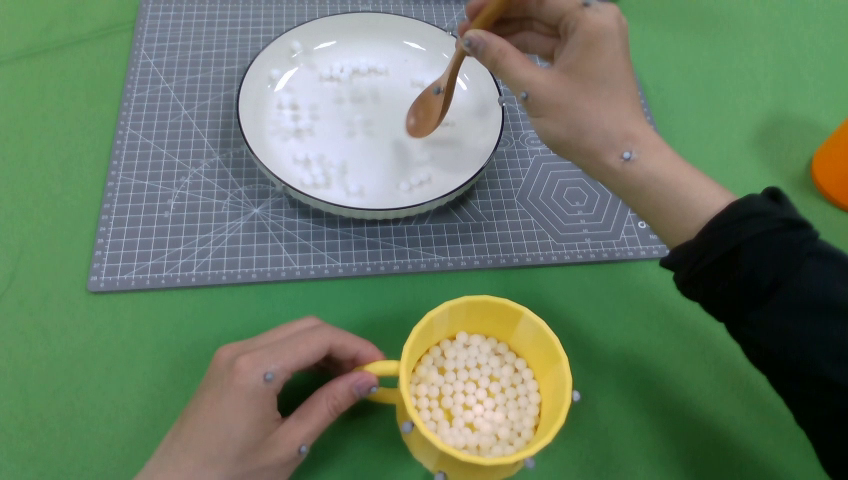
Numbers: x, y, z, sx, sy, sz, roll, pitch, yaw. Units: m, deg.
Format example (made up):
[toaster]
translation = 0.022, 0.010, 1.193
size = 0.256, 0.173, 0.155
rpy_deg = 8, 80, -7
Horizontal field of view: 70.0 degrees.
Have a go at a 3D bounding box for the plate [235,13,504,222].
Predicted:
[plate]
translation = -0.041, -0.098, 0.486
size = 0.208, 0.039, 0.205
rpy_deg = 3, 59, -4

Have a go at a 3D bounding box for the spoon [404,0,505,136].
[spoon]
translation = 0.025, -0.123, 0.391
size = 0.022, 0.194, 0.041
rpy_deg = 5, 70, -18

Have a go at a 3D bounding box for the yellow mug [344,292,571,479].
[yellow mug]
translation = 0.017, 0.089, 0.369
size = 0.131, 0.064, 0.099
rpy_deg = 4, 60, -3
